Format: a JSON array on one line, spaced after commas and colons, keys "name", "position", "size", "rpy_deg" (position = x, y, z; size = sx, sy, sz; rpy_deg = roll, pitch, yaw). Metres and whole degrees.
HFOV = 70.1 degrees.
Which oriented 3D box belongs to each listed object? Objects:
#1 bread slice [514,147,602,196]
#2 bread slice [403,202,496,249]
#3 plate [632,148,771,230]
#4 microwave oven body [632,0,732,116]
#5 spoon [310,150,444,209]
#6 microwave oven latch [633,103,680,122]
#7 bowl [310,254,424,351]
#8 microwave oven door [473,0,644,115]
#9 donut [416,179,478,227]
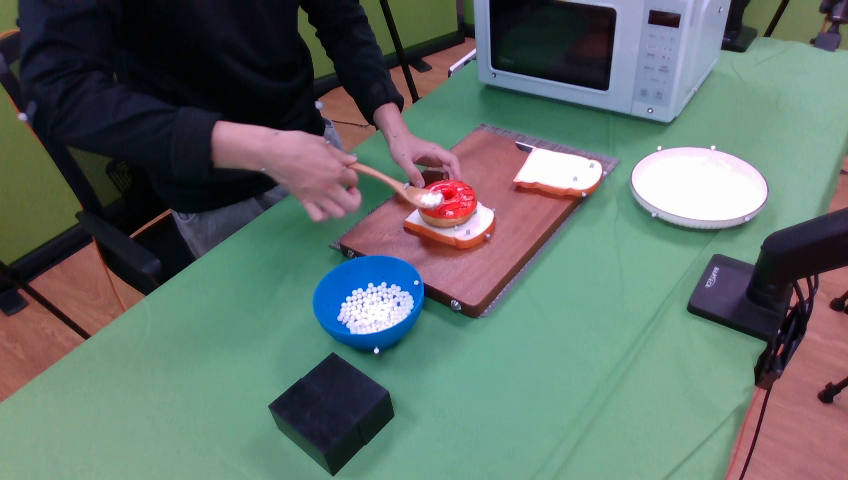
[{"name": "bread slice", "position": [0.233, -0.115, 1.027], "size": [0.133, 0.018, 0.107], "rpy_deg": [13, 45, 20]}, {"name": "bread slice", "position": [0.048, -0.034, 0.961], "size": [0.130, 0.019, 0.105], "rpy_deg": [22, 50, 32]}, {"name": "plate", "position": [0.447, -0.081, 0.988], "size": [0.207, 0.039, 0.206], "rpy_deg": [-4, 40, 4]}, {"name": "microwave oven body", "position": [0.377, -0.462, 1.267], "size": [0.438, 0.261, 0.327], "rpy_deg": [21, 48, 30]}, {"name": "spoon", "position": [-0.065, -0.087, 0.833], "size": [0.194, 0.021, 0.041], "rpy_deg": [25, 42, -5]}, {"name": "microwave oven latch", "position": [0.444, -0.249, 1.157], "size": [0.078, 0.029, 0.030], "rpy_deg": [21, 49, 30]}, {"name": "bowl", "position": [-0.071, 0.097, 0.821], "size": [0.151, 0.077, 0.150], "rpy_deg": [-4, 40, 4]}, {"name": "microwave oven door", "position": [0.257, -0.396, 1.199], "size": [0.353, 0.245, 0.039], "rpy_deg": [21, 48, 29]}, {"name": "donut", "position": [0.036, -0.058, 0.944], "size": [0.099, 0.048, 0.098], "rpy_deg": [-4, 39, 4]}]
